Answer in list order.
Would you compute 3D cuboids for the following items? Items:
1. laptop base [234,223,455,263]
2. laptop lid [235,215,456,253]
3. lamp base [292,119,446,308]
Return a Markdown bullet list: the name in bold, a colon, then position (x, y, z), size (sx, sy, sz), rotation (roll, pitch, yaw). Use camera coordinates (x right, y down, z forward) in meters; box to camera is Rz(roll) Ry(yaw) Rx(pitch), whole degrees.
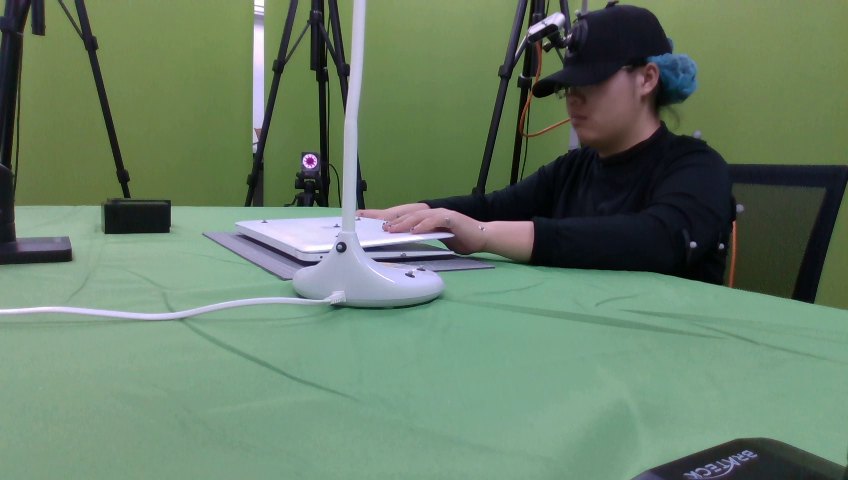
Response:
- **laptop base**: position (-0.142, 0.003, 0.959), size (0.237, 0.023, 0.352), rotation (2, 7, -32)
- **laptop lid**: position (-0.139, -0.017, 0.957), size (0.243, 0.013, 0.355), rotation (-4, 9, -30)
- **lamp base**: position (-0.056, -0.030, 0.616), size (0.160, 0.180, 0.179), rotation (3, 10, 8)
